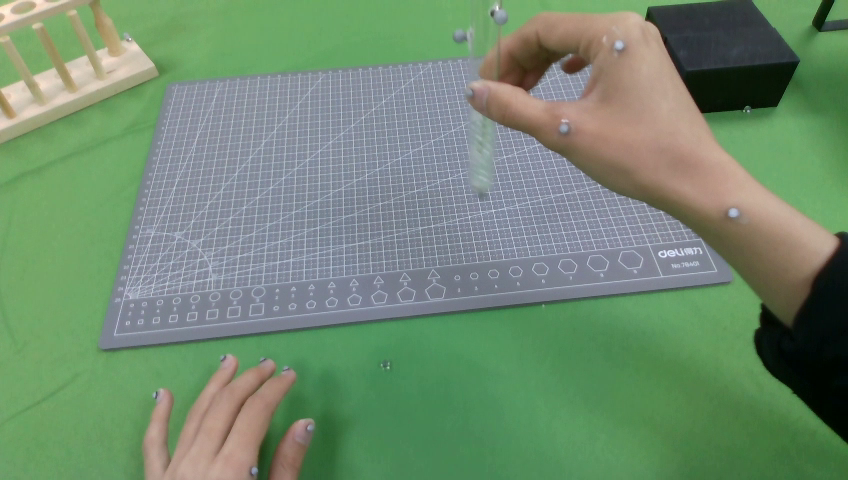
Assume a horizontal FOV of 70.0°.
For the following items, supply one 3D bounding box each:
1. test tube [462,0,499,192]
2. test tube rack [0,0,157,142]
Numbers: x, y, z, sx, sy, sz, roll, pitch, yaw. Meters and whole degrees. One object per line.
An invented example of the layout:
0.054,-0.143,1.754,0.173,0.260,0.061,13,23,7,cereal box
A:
0.028,-0.076,0.316,0.017,0.151,0.017,-1,56,2,test tube
-0.387,-0.152,0.552,0.242,0.086,0.066,-32,57,-21,test tube rack
